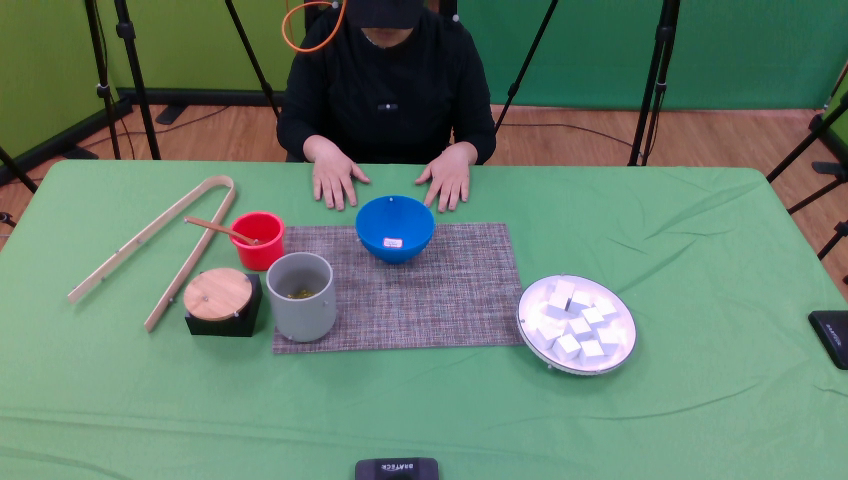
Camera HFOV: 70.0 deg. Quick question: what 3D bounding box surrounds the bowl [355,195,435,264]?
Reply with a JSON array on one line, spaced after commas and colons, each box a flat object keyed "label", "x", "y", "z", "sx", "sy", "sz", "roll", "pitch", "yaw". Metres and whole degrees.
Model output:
[{"label": "bowl", "x": -0.056, "y": -0.008, "z": 1.158, "sx": 0.151, "sy": 0.077, "sz": 0.150, "roll": 2, "pitch": 46, "yaw": -2}]

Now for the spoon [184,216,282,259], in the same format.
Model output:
[{"label": "spoon", "x": -0.341, "y": -0.008, "z": 1.096, "sx": 0.021, "sy": 0.195, "sz": 0.041, "roll": -36, "pitch": 47, "yaw": 25}]

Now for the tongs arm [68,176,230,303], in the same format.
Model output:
[{"label": "tongs arm", "x": -0.510, "y": -0.011, "z": 1.162, "sx": 0.050, "sy": 0.026, "sz": 0.383, "roll": 20, "pitch": 47, "yaw": 14}]

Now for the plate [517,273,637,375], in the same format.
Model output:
[{"label": "plate", "x": 0.264, "y": 0.148, "z": 1.060, "sx": 0.209, "sy": 0.038, "sz": 0.208, "roll": 3, "pitch": 46, "yaw": -3}]

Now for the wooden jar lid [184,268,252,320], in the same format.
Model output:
[{"label": "wooden jar lid", "x": -0.343, "y": 0.092, "z": 1.015, "sx": 0.108, "sy": 0.021, "sz": 0.107, "roll": 3, "pitch": 46, "yaw": -3}]

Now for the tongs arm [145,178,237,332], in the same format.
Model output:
[{"label": "tongs arm", "x": -0.432, "y": 0.014, "z": 1.149, "sx": 0.028, "sy": 0.028, "sz": 0.385, "roll": 8, "pitch": 46, "yaw": 7}]

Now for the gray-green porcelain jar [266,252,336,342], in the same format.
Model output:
[{"label": "gray-green porcelain jar", "x": -0.202, "y": 0.100, "z": 1.009, "sx": 0.106, "sy": 0.127, "sz": 0.105, "roll": 2, "pitch": 46, "yaw": -2}]
